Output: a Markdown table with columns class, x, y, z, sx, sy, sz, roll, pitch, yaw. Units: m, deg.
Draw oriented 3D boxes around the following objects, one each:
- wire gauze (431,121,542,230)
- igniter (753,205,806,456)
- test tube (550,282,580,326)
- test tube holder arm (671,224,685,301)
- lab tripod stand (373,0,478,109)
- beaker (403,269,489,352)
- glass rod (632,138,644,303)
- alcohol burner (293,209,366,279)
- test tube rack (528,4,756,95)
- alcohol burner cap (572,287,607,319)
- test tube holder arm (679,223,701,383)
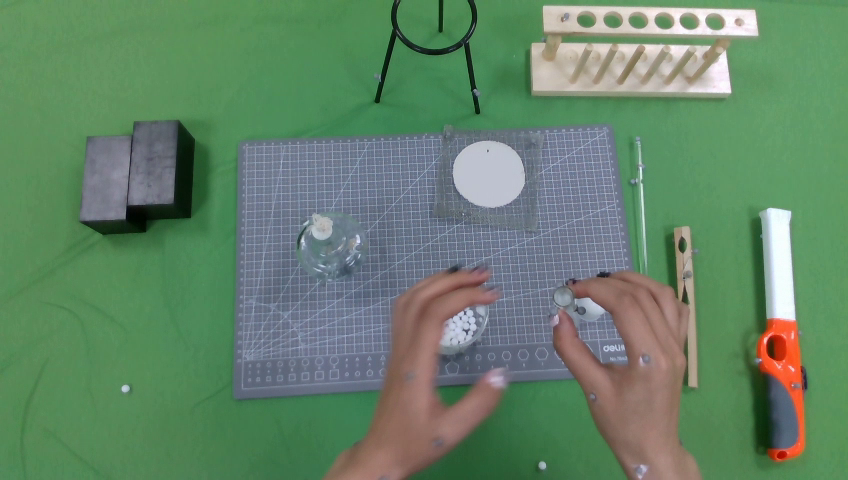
| class | x | y | z | sx | sy | sz | roll | pitch | yaw |
| --- | --- | --- | --- | --- | --- | --- | --- | --- | --- |
| wire gauze | 0.075 | -0.079 | 0.715 | 0.125 | 0.011 | 0.121 | 8 | 77 | 0 |
| igniter | 0.390 | 0.095 | 0.669 | 0.057 | 0.025 | 0.275 | 8 | 75 | -9 |
| test tube | 0.116 | 0.054 | 0.490 | 0.017 | 0.151 | 0.017 | -4 | 75 | 16 |
| test tube holder arm | 0.291 | 0.026 | 0.690 | 0.010 | 0.015 | 0.087 | -9 | 73 | 35 |
| lab tripod stand | 0.006 | -0.217 | 0.687 | 0.148 | 0.132 | 0.147 | 0 | 77 | -1 |
| beaker | 0.021 | 0.078 | 0.626 | 0.084 | 0.101 | 0.073 | -11 | 75 | -3 |
| glass rod | 0.250 | -0.025 | 0.706 | 0.008 | 0.008 | 0.199 | 2 | 78 | -1 |
| alcohol burner | -0.102 | -0.001 | 0.637 | 0.078 | 0.120 | 0.077 | 0 | 74 | 2 |
| test tube rack | 0.252 | -0.223 | 0.718 | 0.242 | 0.085 | 0.066 | 1 | 75 | -1 |
| alcohol burner cap | 0.183 | 0.066 | 0.662 | 0.034 | 0.048 | 0.033 | 0 | 75 | 0 |
| test tube holder arm | 0.295 | 0.069 | 0.676 | 0.013 | 0.015 | 0.177 | -10 | 73 | 34 |
